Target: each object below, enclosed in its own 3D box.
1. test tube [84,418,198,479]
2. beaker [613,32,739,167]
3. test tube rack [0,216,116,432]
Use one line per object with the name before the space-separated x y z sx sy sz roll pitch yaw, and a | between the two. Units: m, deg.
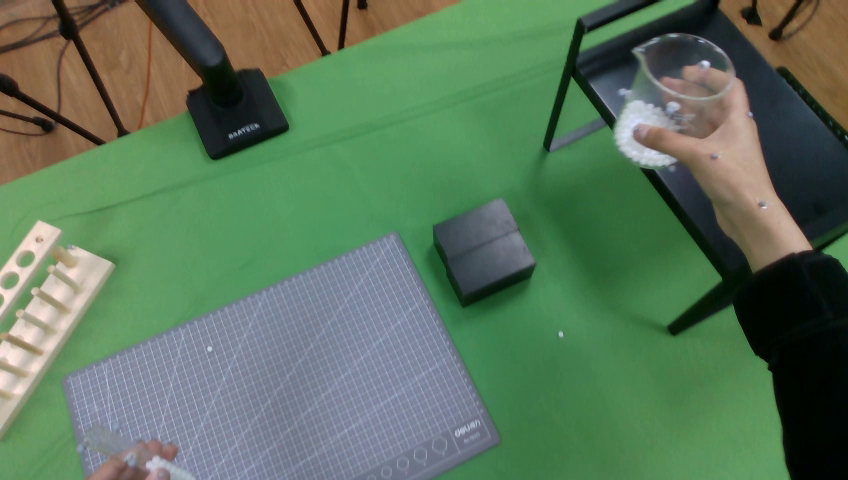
test tube | -0.212 0.165 0.467 0.017 0.151 0.017 -3 58 6
beaker | 0.213 -0.120 0.535 0.083 0.101 0.074 29 63 14
test tube rack | -0.485 0.100 0.724 0.066 0.086 0.241 22 69 10
